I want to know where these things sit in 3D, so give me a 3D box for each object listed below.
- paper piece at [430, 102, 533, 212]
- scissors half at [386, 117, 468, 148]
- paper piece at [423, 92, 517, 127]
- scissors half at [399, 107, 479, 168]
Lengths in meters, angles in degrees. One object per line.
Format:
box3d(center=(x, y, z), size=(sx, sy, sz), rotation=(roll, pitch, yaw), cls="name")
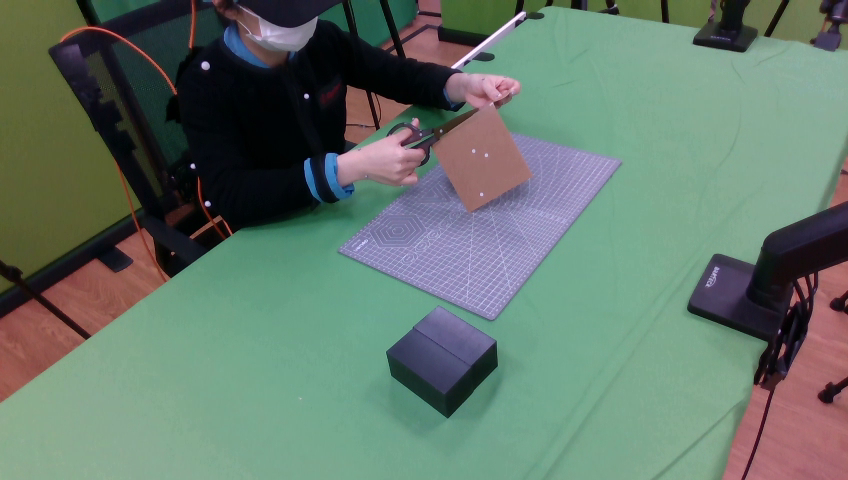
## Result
box3d(center=(0.090, -0.131, 0.984), size=(0.135, 0.135, 0.004), rotation=(-29, 1, 32), cls="paper piece")
box3d(center=(0.013, -0.187, 0.999), size=(0.174, 0.040, 0.013), rotation=(-10, 32, 23), cls="scissors half")
box3d(center=(0.081, -0.223, 1.041), size=(0.135, 0.008, 0.138), rotation=(-13, 12, 30), cls="paper piece")
box3d(center=(0.025, -0.170, 1.007), size=(0.174, 0.040, 0.013), rotation=(-35, 15, 33), cls="scissors half")
